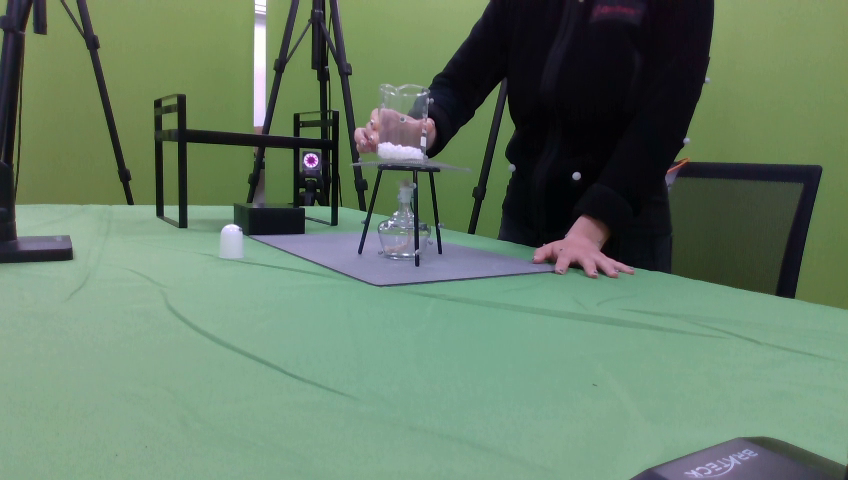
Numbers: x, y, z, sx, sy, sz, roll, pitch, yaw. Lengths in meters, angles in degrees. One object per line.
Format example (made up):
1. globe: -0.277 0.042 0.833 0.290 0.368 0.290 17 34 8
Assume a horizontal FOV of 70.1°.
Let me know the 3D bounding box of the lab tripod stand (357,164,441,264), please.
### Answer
1. lab tripod stand: -0.023 -0.040 0.859 0.148 0.131 0.148 2 5 0

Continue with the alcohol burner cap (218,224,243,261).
1. alcohol burner cap: -0.263 0.002 0.824 0.034 0.048 0.034 5 9 0

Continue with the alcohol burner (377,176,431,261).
1. alcohol burner: -0.028 -0.031 0.859 0.078 0.119 0.078 2 9 0

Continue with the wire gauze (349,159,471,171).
1. wire gauze: -0.019 -0.106 0.847 0.121 0.011 0.126 8 7 42

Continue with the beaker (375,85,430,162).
1. beaker: -0.031 -0.161 0.841 0.074 0.100 0.084 4 5 9
